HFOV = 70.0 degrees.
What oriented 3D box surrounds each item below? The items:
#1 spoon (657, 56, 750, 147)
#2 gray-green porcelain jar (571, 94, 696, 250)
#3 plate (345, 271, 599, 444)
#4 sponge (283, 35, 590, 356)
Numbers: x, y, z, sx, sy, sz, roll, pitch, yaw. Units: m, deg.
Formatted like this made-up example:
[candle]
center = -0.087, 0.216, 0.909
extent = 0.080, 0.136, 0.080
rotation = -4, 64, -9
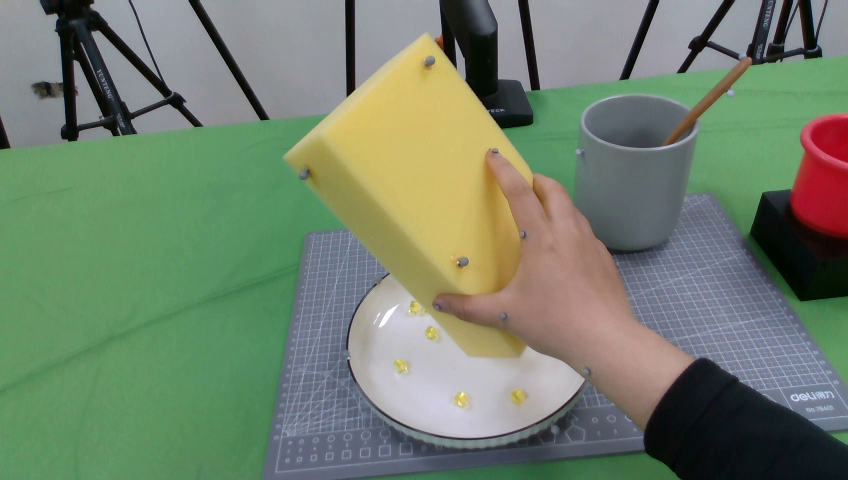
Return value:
[spoon]
center = 0.226, -0.087, 0.562
extent = 0.022, 0.194, 0.041
rotation = 26, 37, -5
[gray-green porcelain jar]
center = 0.200, -0.062, 0.595
extent = 0.106, 0.128, 0.105
rotation = -4, 40, 4
[plate]
center = 0.039, 0.084, 0.513
extent = 0.207, 0.039, 0.205
rotation = -4, 40, 4
[sponge]
center = 0.018, -0.025, 0.440
extent = 0.060, 0.208, 0.118
rotation = -14, 34, 55
